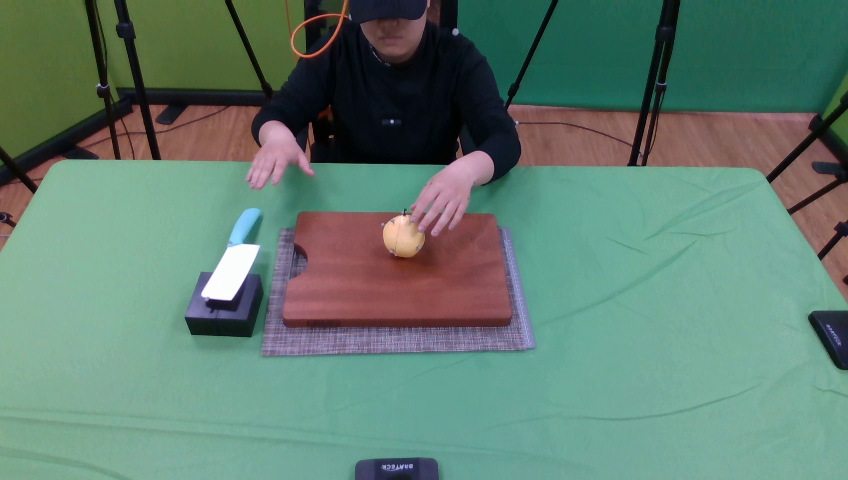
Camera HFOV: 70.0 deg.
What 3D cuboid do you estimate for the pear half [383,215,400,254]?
[{"bbox_3d":[-0.061,-0.013,1.119,0.031,0.088,0.070,0,54,-4],"label":"pear half"}]

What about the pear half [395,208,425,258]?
[{"bbox_3d":[-0.025,-0.018,1.113,0.056,0.110,0.076,0,50,-3],"label":"pear half"}]

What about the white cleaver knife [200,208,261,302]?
[{"bbox_3d":[-0.338,0.024,1.116,0.066,0.021,0.285,7,35,-3],"label":"white cleaver knife"}]
